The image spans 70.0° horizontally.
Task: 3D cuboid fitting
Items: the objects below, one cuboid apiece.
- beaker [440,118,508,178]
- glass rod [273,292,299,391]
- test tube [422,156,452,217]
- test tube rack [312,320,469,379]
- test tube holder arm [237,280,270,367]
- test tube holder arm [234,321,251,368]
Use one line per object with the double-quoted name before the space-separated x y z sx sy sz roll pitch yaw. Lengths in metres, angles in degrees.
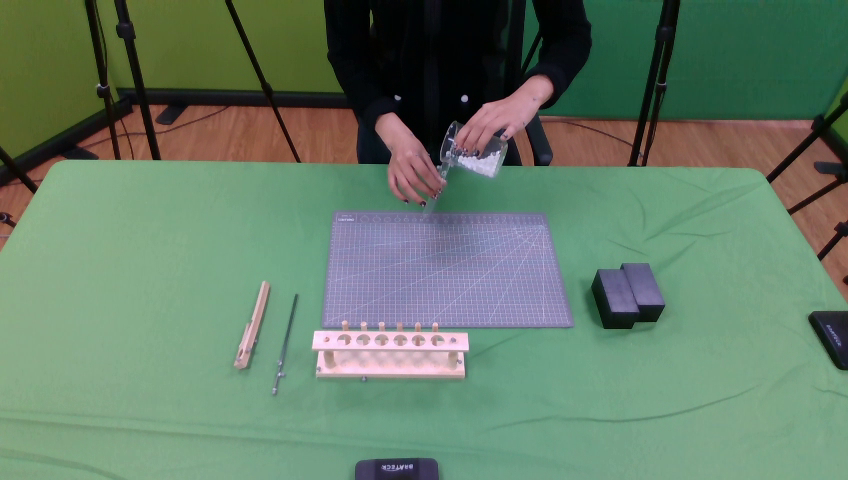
"beaker" 0.086 -0.152 1.034 0.100 0.084 0.074 22 52 12
"glass rod" -0.233 0.167 1.030 0.008 0.008 0.198 3 46 0
"test tube" 0.023 -0.096 1.125 0.017 0.151 0.017 11 46 -11
"test tube rack" -0.054 0.173 0.984 0.242 0.085 0.066 1 46 -3
"test tube holder arm" -0.290 0.139 1.042 0.013 0.015 0.177 -17 42 22
"test tube holder arm" -0.299 0.173 1.013 0.010 0.015 0.087 -17 42 22
